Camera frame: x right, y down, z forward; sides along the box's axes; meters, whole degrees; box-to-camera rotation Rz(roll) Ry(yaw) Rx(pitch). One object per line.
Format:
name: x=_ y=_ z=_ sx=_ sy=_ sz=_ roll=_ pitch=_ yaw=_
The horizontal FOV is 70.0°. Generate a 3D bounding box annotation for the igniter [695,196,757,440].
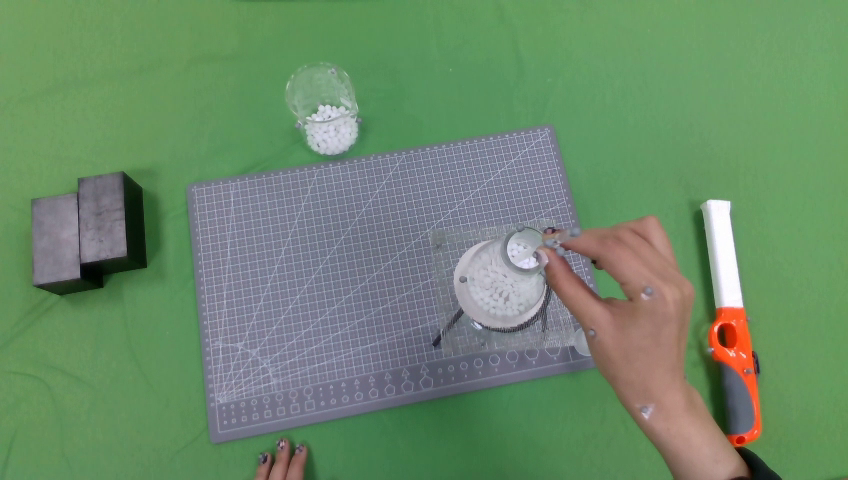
igniter: x=0.341 y=0.082 z=0.686 sx=0.057 sy=0.025 sz=0.275 roll=3 pitch=74 yaw=-11

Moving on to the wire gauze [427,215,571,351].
wire gauze: x=0.069 y=0.039 z=0.564 sx=0.125 sy=0.011 sz=0.121 roll=-4 pitch=77 yaw=-5

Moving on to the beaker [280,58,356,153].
beaker: x=-0.115 y=-0.149 z=0.700 sx=0.084 sy=0.100 sz=0.074 roll=25 pitch=76 yaw=5

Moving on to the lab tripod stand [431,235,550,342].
lab tripod stand: x=0.070 y=0.058 z=0.627 sx=0.148 sy=0.132 sz=0.147 roll=0 pitch=76 yaw=-1

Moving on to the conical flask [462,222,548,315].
conical flask: x=0.073 y=0.019 z=0.509 sx=0.075 sy=0.122 sz=0.075 roll=0 pitch=76 yaw=-1

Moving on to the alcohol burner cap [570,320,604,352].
alcohol burner cap: x=0.182 y=0.104 z=0.665 sx=0.034 sy=0.048 sz=0.033 roll=0 pitch=74 yaw=-1

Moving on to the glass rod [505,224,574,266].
glass rod: x=0.079 y=0.007 z=0.445 sx=0.008 sy=0.200 sz=0.008 roll=0 pitch=82 yaw=-2

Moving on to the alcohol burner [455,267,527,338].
alcohol burner: x=0.072 y=0.062 z=0.637 sx=0.078 sy=0.119 sz=0.077 roll=0 pitch=75 yaw=1
